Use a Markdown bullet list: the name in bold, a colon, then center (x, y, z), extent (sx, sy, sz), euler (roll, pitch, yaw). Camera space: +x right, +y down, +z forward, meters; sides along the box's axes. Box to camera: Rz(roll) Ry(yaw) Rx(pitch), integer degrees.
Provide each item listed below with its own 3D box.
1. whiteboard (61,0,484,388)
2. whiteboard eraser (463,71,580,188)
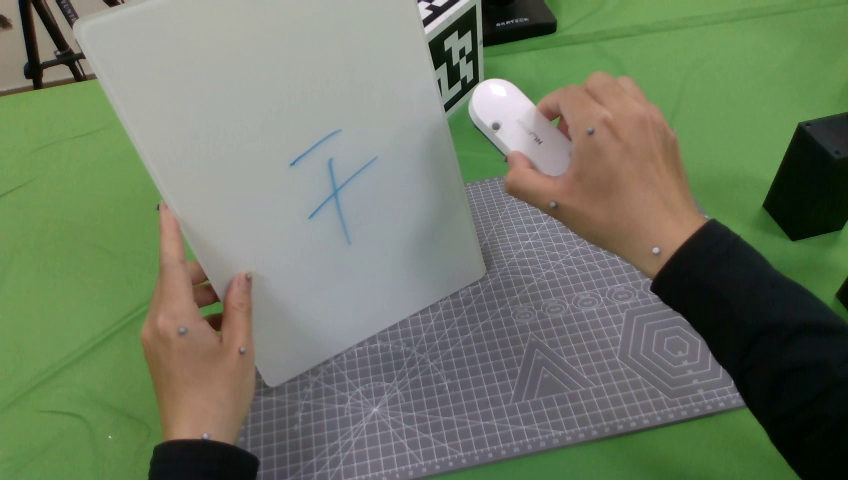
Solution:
- **whiteboard**: center (-0.105, -0.075, 0.507), extent (0.217, 0.308, 0.142), euler (-27, 32, -15)
- **whiteboard eraser**: center (0.070, -0.080, 0.435), extent (0.101, 0.019, 0.041), euler (46, 69, 3)
